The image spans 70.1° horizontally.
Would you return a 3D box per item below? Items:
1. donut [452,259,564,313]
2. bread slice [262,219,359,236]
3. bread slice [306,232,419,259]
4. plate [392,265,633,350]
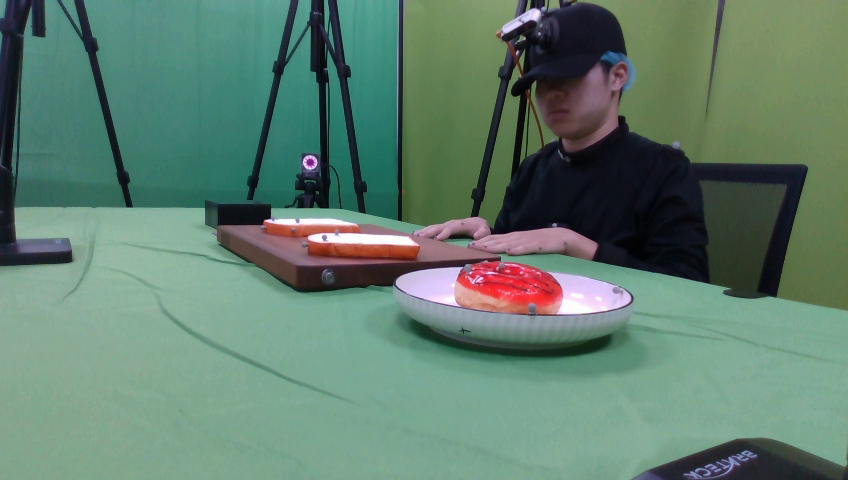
[{"bbox_3d":[0.074,0.045,0.536,0.099,0.048,0.099,4,8,0],"label":"donut"},{"bbox_3d":[-0.179,-0.021,0.931,0.132,0.019,0.104,-1,7,-35],"label":"bread slice"},{"bbox_3d":[-0.077,0.006,0.747,0.135,0.018,0.106,2,7,-12],"label":"bread slice"},{"bbox_3d":[0.074,0.057,0.533,0.209,0.038,0.209,3,7,0],"label":"plate"}]
